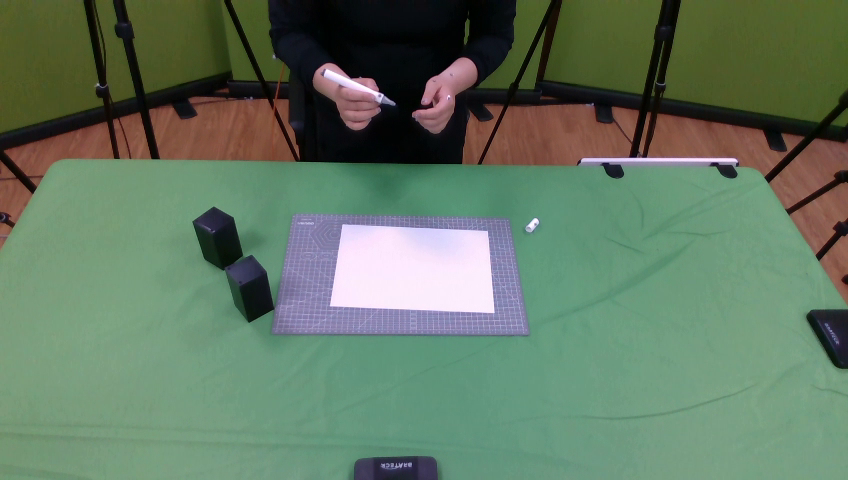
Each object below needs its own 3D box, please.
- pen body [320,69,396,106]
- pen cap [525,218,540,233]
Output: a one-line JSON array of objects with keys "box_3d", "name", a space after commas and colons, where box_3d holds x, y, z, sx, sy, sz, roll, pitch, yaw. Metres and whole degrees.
[{"box_3d": [-0.117, -0.271, 1.086, 0.144, 0.017, 0.017, 23, 46, -4], "name": "pen body"}, {"box_3d": [0.224, -0.031, 1.248, 0.017, 0.017, 0.038, 30, 51, 23], "name": "pen cap"}]
